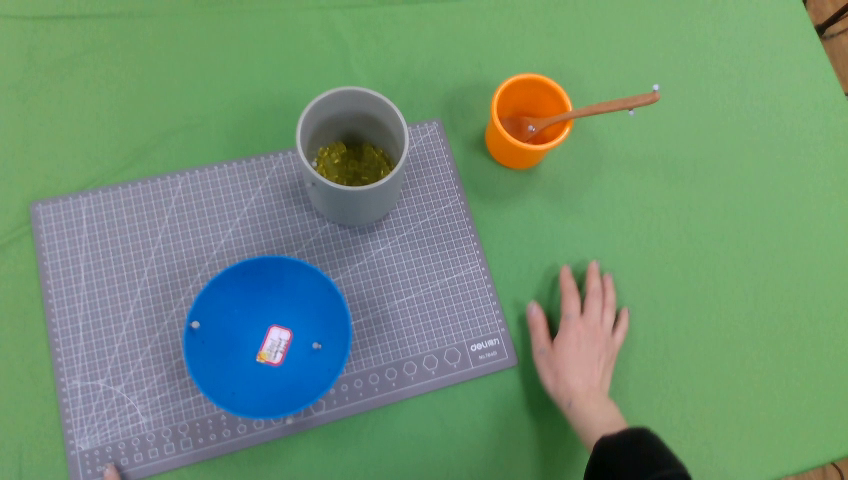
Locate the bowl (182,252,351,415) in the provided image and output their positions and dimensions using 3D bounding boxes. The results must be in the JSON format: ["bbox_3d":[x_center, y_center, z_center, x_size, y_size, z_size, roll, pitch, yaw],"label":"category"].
[{"bbox_3d":[-0.147,0.094,0.589,0.152,0.077,0.150,2,74,-7],"label":"bowl"}]

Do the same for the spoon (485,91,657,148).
[{"bbox_3d":[0.153,-0.133,0.657,0.022,0.193,0.041,23,66,-47],"label":"spoon"}]

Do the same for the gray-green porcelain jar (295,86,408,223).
[{"bbox_3d":[-0.074,-0.080,0.622,0.106,0.127,0.105,2,74,-7],"label":"gray-green porcelain jar"}]
